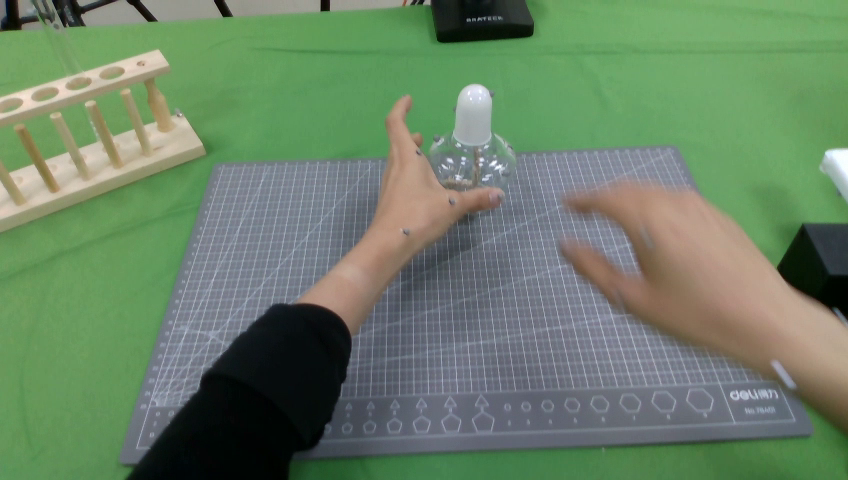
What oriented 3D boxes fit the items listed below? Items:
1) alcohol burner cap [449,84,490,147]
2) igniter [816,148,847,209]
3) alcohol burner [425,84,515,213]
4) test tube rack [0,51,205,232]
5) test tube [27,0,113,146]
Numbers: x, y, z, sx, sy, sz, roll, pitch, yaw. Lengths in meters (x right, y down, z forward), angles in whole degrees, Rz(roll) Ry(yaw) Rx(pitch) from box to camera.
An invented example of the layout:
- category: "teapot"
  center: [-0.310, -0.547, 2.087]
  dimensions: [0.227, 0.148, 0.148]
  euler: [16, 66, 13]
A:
- category: "alcohol burner cap"
  center: [0.038, -0.103, 0.489]
  dimensions: [0.034, 0.048, 0.033]
  euler: [1, 46, -1]
- category: "igniter"
  center: [0.330, 0.028, 0.399]
  dimensions: [0.057, 0.025, 0.274]
  euler: [-1, 45, 5]
- category: "alcohol burner"
  center: [0.039, -0.081, 0.511]
  dimensions: [0.078, 0.120, 0.077]
  euler: [0, 48, 0]
- category: "test tube rack"
  center: [-0.337, -0.083, 0.547]
  dimensions: [0.242, 0.086, 0.066]
  euler: [-26, 51, -21]
- category: "test tube"
  center: [-0.313, -0.150, 0.537]
  dimensions: [0.017, 0.151, 0.017]
  euler: [-4, 38, 3]
